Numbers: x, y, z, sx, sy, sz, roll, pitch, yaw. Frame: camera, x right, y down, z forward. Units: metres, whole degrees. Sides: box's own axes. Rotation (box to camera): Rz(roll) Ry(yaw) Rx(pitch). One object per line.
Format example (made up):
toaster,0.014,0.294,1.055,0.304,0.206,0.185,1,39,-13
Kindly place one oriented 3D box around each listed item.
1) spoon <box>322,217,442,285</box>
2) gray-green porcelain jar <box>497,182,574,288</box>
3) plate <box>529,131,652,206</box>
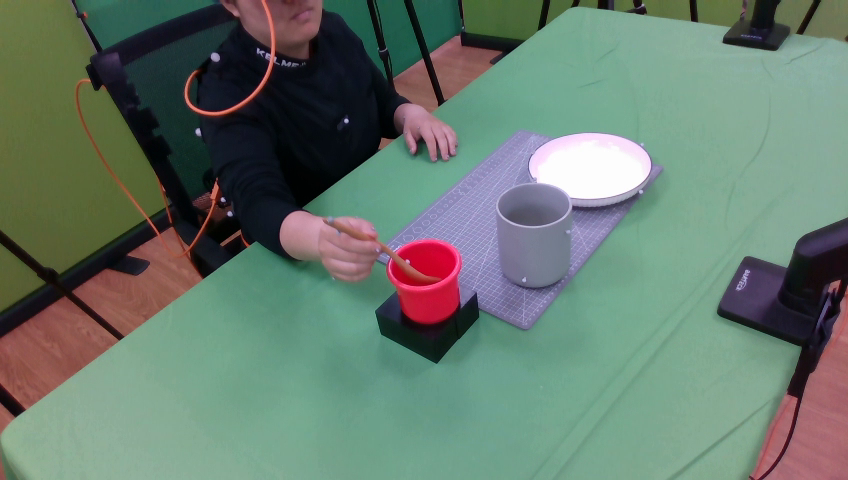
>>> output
spoon,-0.048,0.015,0.736,0.041,0.195,0.021,13,72,51
gray-green porcelain jar,0.160,-0.003,0.869,0.106,0.127,0.105,-5,40,5
plate,0.287,-0.122,1.055,0.207,0.039,0.206,-5,40,5
